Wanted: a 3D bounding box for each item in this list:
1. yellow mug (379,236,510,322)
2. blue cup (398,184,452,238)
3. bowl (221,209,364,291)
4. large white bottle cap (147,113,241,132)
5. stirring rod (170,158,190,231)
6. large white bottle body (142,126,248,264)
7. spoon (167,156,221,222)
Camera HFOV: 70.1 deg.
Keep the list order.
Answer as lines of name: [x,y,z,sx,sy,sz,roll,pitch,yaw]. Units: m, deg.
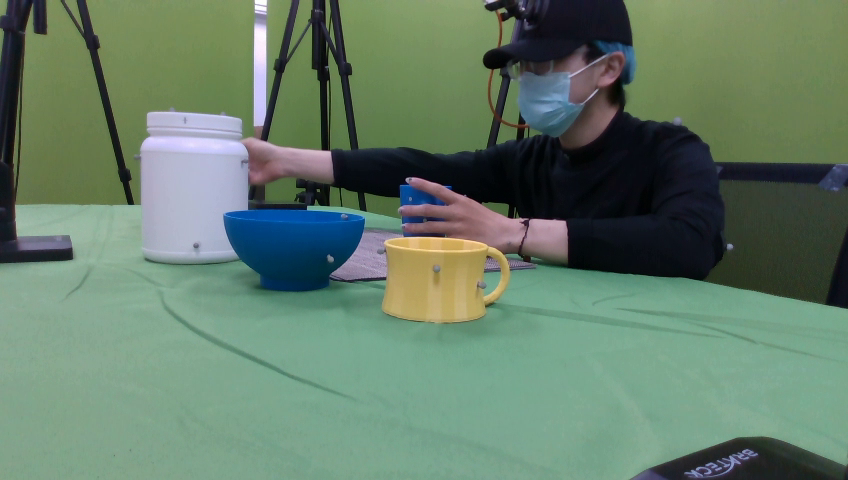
yellow mug: [0.024,0.034,0.575,0.131,0.064,0.099,1,7,-22]
blue cup: [0.000,-0.038,0.967,0.093,0.100,0.092,2,7,0]
bowl: [-0.142,0.011,0.660,0.151,0.077,0.151,2,7,0]
large white bottle cap: [-0.297,-0.151,0.786,0.115,0.018,0.115,2,7,0]
stirring rod: [-0.426,-0.083,1.059,0.014,0.006,0.175,2,49,-13]
large white bottle body: [-0.300,-0.067,0.797,0.131,0.184,0.130,2,7,0]
spoon: [-0.446,-0.104,1.192,0.041,0.021,0.193,9,52,11]
